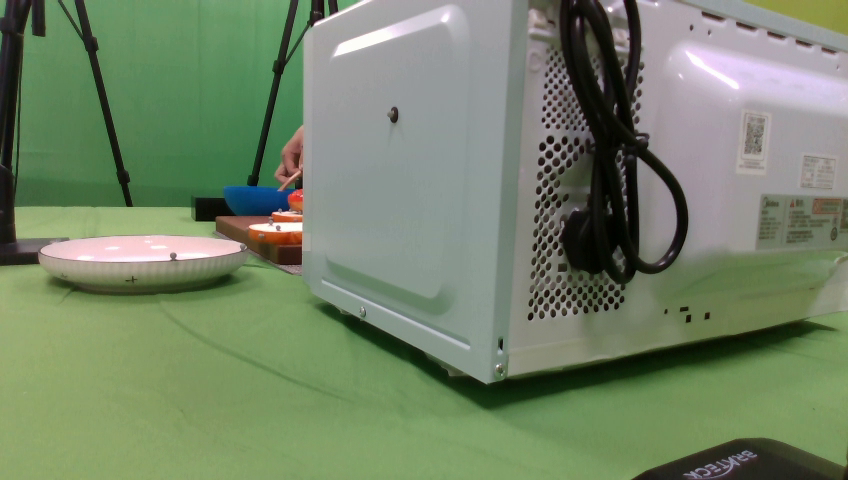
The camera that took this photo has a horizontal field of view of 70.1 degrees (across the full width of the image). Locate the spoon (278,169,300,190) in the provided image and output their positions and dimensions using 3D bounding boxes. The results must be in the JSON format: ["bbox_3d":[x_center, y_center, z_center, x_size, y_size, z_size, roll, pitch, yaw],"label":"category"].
[{"bbox_3d":[-0.279,-0.116,1.242,0.041,0.022,0.194,24,64,45],"label":"spoon"}]

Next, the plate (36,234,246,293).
[{"bbox_3d":[-0.305,0.026,0.668,0.208,0.039,0.207,3,7,0],"label":"plate"}]

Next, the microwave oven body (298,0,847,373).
[{"bbox_3d":[0.151,-0.055,0.542,0.444,0.260,0.324,-2,7,-33],"label":"microwave oven body"}]

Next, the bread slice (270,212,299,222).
[{"bbox_3d":[-0.197,-0.038,1.051,0.132,0.019,0.104,0,6,-31],"label":"bread slice"}]

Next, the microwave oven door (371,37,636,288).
[{"bbox_3d":[0.109,-0.080,0.686,0.358,0.243,0.039,-2,9,-33],"label":"microwave oven door"}]

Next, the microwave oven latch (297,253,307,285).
[{"bbox_3d":[-0.082,0.027,0.582,0.079,0.029,0.030,-1,7,-32],"label":"microwave oven latch"}]

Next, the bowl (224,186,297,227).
[{"bbox_3d":[-0.329,-0.068,1.230,0.151,0.077,0.151,3,7,0],"label":"bowl"}]

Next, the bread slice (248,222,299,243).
[{"bbox_3d":[-0.174,-0.012,0.844,0.135,0.018,0.106,-6,10,-44],"label":"bread slice"}]

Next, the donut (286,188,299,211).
[{"bbox_3d":[-0.190,-0.068,1.055,0.099,0.048,0.099,3,6,0],"label":"donut"}]
